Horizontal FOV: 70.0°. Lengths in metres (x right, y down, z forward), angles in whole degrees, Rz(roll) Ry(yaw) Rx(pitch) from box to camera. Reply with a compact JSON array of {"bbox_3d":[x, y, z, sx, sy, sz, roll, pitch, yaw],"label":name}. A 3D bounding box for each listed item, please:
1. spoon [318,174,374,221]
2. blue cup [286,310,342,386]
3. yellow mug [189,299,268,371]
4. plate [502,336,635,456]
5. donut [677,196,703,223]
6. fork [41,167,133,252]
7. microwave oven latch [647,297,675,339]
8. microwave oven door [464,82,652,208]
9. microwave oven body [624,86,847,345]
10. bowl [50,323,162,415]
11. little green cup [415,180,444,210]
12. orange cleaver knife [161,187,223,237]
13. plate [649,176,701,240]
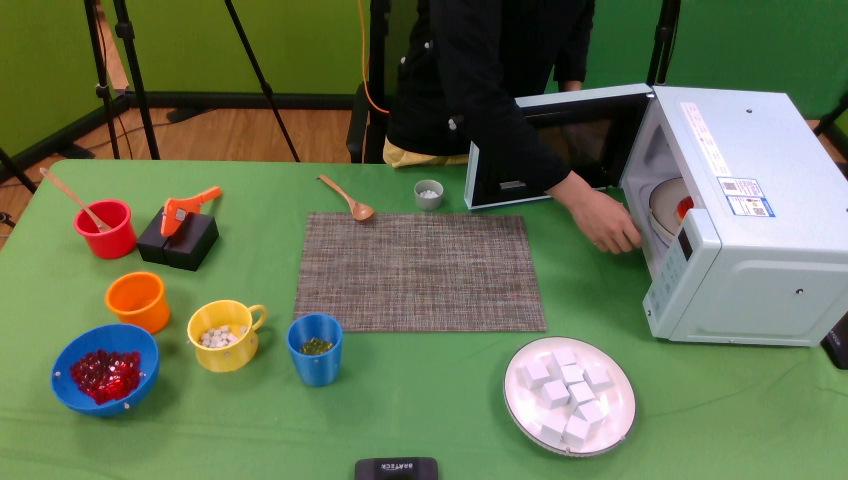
[{"bbox_3d":[-0.168,-0.095,1.274,0.041,0.022,0.192,-38,56,-15],"label":"spoon"},{"bbox_3d":[-0.169,0.179,0.958,0.093,0.101,0.092,1,44,-1],"label":"blue cup"},{"bbox_3d":[-0.316,0.148,1.002,0.131,0.064,0.099,-32,56,-31],"label":"yellow mug"},{"bbox_3d":[0.225,0.248,0.963,0.208,0.039,0.206,2,46,-2],"label":"plate"},{"bbox_3d":[0.538,-0.047,1.169,0.099,0.048,0.098,6,41,-5],"label":"donut"},{"bbox_3d":[-0.624,-0.055,1.121,0.208,0.018,0.028,50,51,-15],"label":"fork"},{"bbox_3d":[0.413,0.134,1.061,0.030,0.029,0.078,5,45,2],"label":"microwave oven latch"},{"bbox_3d":[0.264,-0.189,1.221,0.356,0.245,0.039,-9,48,-13],"label":"microwave oven door"},{"bbox_3d":[0.568,-0.053,1.118,0.326,0.261,0.439,2,45,-1],"label":"microwave oven body"},{"bbox_3d":[-0.472,0.209,0.924,0.151,0.077,0.150,2,45,-2],"label":"bowl"},{"bbox_3d":[0.010,-0.094,1.278,0.061,0.039,0.061,3,49,-3],"label":"little green cup"},{"bbox_3d":[-0.448,-0.058,1.181,0.012,0.077,0.211,13,17,6],"label":"orange cleaver knife"},{"bbox_3d":[0.542,-0.044,1.180,0.209,0.038,0.208,2,46,-2],"label":"plate"}]
